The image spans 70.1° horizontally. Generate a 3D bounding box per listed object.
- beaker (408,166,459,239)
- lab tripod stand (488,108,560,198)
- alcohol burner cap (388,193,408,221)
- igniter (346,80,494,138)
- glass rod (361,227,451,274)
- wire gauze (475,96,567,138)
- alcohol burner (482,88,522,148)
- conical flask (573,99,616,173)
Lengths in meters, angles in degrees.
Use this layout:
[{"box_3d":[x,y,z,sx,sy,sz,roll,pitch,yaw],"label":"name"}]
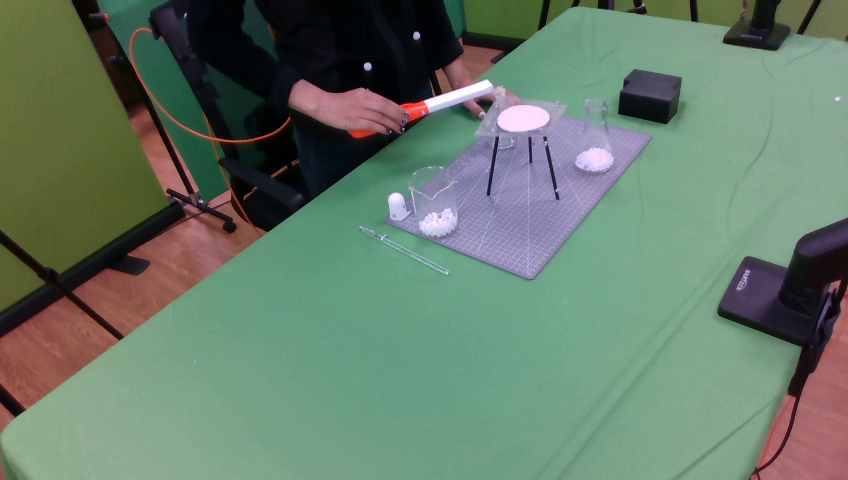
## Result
[{"box_3d":[0.018,-0.057,0.984,0.074,0.101,0.083,-6,41,6],"label":"beaker"},{"box_3d":[0.173,-0.150,1.037,0.148,0.132,0.147,-7,38,6],"label":"lab tripod stand"},{"box_3d":[-0.047,-0.059,1.043,0.034,0.048,0.033,-6,40,5],"label":"alcohol burner cap"},{"box_3d":[-0.007,-0.238,1.096,0.277,0.025,0.057,-20,39,-7],"label":"igniter"},{"box_3d":[-0.033,0.015,0.985,0.198,0.008,0.008,26,52,34],"label":"glass rod"},{"box_3d":[0.161,-0.201,0.994,0.121,0.011,0.125,11,43,23],"label":"wire gauze"},{"box_3d":[0.149,-0.237,1.160,0.078,0.119,0.077,-4,40,4],"label":"alcohol burner"},{"box_3d":[0.302,-0.184,1.061,0.075,0.122,0.075,-5,40,5],"label":"conical flask"}]
